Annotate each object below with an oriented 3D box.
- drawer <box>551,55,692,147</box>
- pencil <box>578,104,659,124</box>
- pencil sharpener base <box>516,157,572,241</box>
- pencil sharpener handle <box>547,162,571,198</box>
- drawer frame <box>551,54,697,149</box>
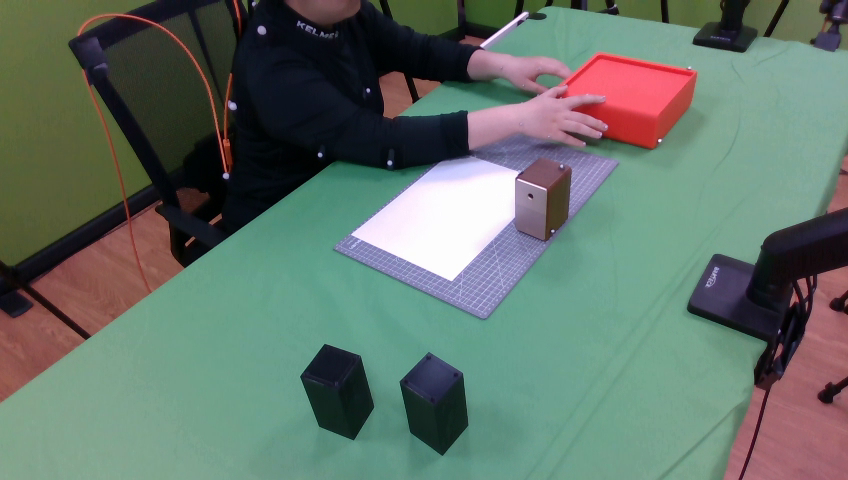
[{"bbox_3d":[0.387,-0.279,1.197,0.210,0.073,0.195,24,49,31],"label":"drawer"},{"bbox_3d":[0.393,-0.256,1.214,0.195,0.012,0.012,-14,40,-17],"label":"pencil"},{"bbox_3d":[0.189,-0.065,0.948,0.061,0.107,0.077,24,49,33],"label":"pencil sharpener base"},{"bbox_3d":[0.221,-0.101,0.967,0.035,0.068,0.031,18,46,38],"label":"pencil sharpener handle"},{"bbox_3d":[0.391,-0.280,1.194,0.212,0.083,0.202,23,48,30],"label":"drawer frame"}]
